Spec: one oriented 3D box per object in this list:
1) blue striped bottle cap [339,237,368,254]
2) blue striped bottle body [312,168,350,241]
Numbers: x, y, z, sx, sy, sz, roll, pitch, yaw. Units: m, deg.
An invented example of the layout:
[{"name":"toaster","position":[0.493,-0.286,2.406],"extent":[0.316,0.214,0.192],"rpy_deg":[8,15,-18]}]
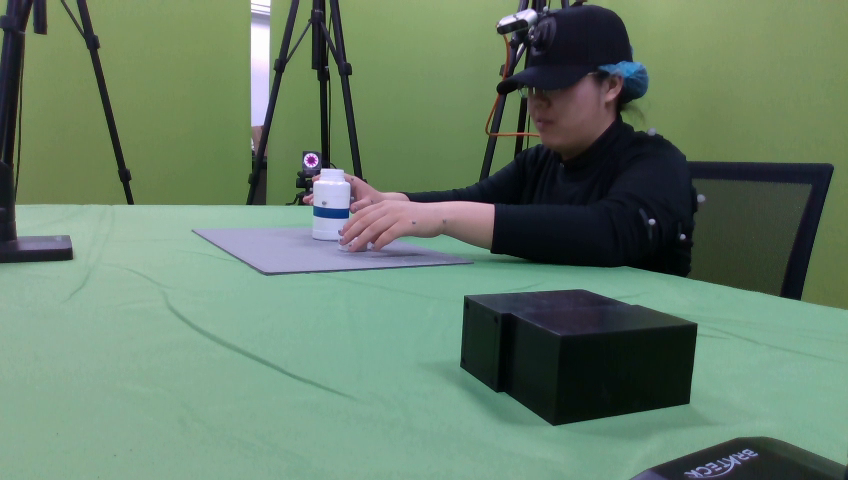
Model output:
[{"name":"blue striped bottle cap","position":[-0.107,0.008,0.920],"extent":[0.044,0.020,0.044],"rpy_deg":[1,7,0]},{"name":"blue striped bottle body","position":[-0.157,-0.062,1.025],"extent":[0.063,0.120,0.063],"rpy_deg":[3,7,0]}]
